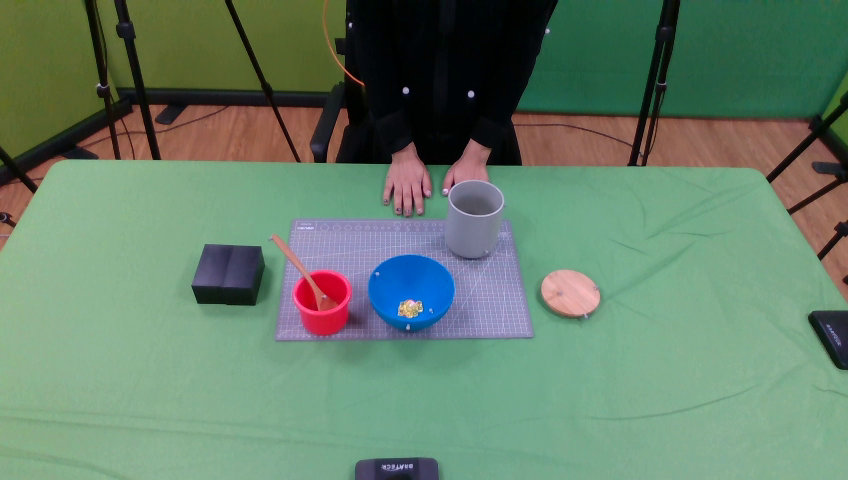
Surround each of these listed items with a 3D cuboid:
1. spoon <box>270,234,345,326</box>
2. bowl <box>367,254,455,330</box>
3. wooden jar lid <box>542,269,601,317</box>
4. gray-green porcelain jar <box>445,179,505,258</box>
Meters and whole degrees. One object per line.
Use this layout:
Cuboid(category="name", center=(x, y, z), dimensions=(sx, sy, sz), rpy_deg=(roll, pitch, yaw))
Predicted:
Cuboid(category="spoon", center=(-0.198, 0.067, 1.031), dimensions=(0.041, 0.021, 0.194), rpy_deg=(-43, 106, -39))
Cuboid(category="bowl", center=(-0.023, 0.104, 1.053), dimensions=(0.151, 0.077, 0.150), rpy_deg=(2, 46, -2))
Cuboid(category="wooden jar lid", center=(0.272, 0.100, 1.121), dimensions=(0.108, 0.021, 0.107), rpy_deg=(3, 47, -2))
Cuboid(category="gray-green porcelain jar", center=(0.095, -0.037, 1.162), dimensions=(0.106, 0.127, 0.105), rpy_deg=(2, 46, -2))
